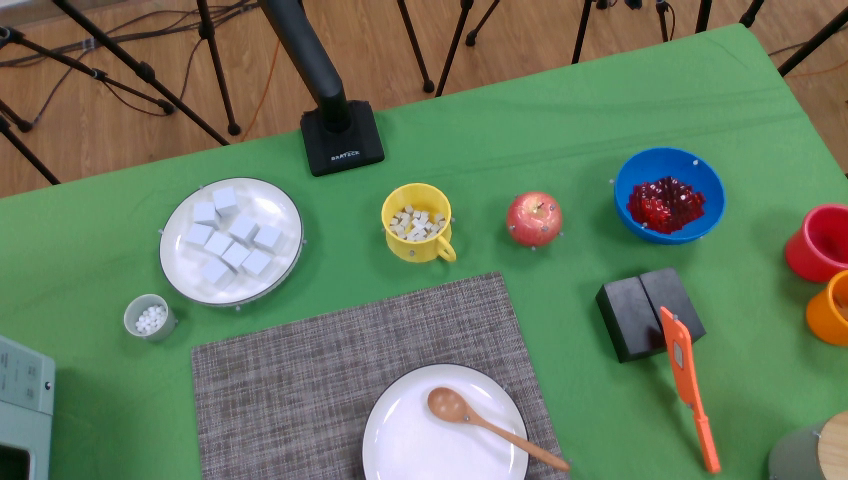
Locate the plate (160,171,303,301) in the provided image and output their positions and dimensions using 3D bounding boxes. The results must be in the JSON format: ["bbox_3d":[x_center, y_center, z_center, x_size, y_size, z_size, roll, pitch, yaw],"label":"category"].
[{"bbox_3d":[-0.280,-0.004,0.899,0.207,0.039,0.206,-1,65,2],"label":"plate"}]

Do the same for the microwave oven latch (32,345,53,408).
[{"bbox_3d":[-0.513,0.182,0.801,0.030,0.030,0.078,-9,66,-2],"label":"microwave oven latch"}]

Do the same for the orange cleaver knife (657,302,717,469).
[{"bbox_3d":[0.328,0.181,0.760,0.012,0.077,0.212,-17,98,-1],"label":"orange cleaver knife"}]

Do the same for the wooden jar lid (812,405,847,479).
[{"bbox_3d":[0.465,0.231,0.643,0.108,0.021,0.107,0,67,1],"label":"wooden jar lid"}]

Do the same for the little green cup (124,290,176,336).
[{"bbox_3d":[-0.381,0.105,0.850,0.061,0.039,0.061,0,65,1],"label":"little green cup"}]

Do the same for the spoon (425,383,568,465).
[{"bbox_3d":[0.087,0.232,0.756,0.192,0.022,0.041,22,62,24],"label":"spoon"}]

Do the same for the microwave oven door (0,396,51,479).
[{"bbox_3d":[-0.478,0.332,0.617,0.039,0.245,0.352,-11,65,-3],"label":"microwave oven door"}]

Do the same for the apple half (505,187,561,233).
[{"bbox_3d":[0.163,-0.044,0.881,0.080,0.075,0.053,24,65,16],"label":"apple half"}]

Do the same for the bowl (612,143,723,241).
[{"bbox_3d":[0.340,-0.056,0.876,0.151,0.077,0.150,-1,65,2],"label":"bowl"}]

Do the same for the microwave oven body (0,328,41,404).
[{"bbox_3d":[-0.629,0.324,0.632,0.326,0.262,0.438,-11,66,-3],"label":"microwave oven body"}]

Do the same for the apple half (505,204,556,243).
[{"bbox_3d":[0.145,-0.014,0.866,0.081,0.082,0.032,25,65,13],"label":"apple half"}]

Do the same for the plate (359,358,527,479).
[{"bbox_3d":[0.024,0.255,0.762,0.209,0.038,0.207,-1,66,2],"label":"plate"}]

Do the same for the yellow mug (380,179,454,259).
[{"bbox_3d":[-0.002,-0.020,0.880,0.100,0.064,0.130,-41,71,-16],"label":"yellow mug"}]

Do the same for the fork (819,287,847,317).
[{"bbox_3d":[0.554,0.111,0.750,0.028,0.019,0.206,1,22,3],"label":"fork"}]

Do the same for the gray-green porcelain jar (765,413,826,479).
[{"bbox_3d":[0.469,0.258,0.698,0.106,0.127,0.105,-1,65,2],"label":"gray-green porcelain jar"}]
